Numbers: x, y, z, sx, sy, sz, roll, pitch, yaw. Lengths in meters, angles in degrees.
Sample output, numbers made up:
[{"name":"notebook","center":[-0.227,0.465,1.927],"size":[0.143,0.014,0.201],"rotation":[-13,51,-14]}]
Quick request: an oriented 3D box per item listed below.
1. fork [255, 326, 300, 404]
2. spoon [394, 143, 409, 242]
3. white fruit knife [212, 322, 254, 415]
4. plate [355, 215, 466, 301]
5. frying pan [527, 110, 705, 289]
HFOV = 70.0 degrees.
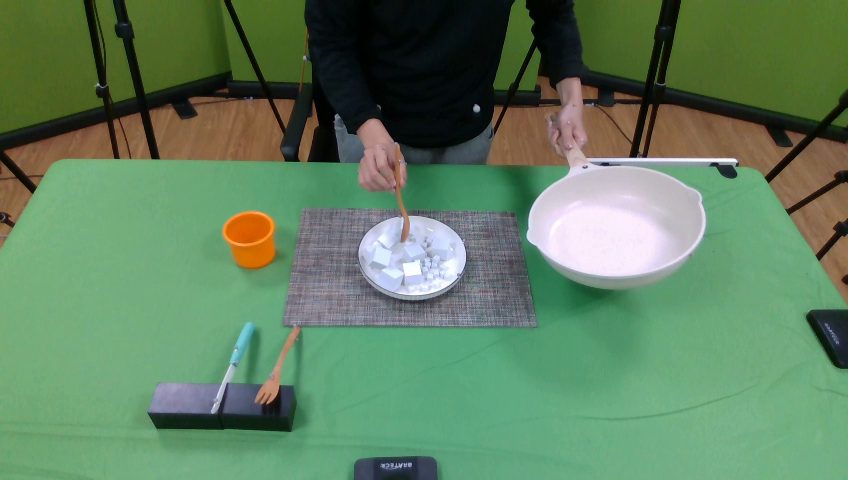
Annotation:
[{"name":"fork","center":[-0.226,0.192,0.955],"size":[0.028,0.019,0.206],"rotation":[-1,27,4]},{"name":"spoon","center":[-0.044,-0.082,1.087],"size":[0.021,0.194,0.041],"rotation":[-8,32,-2]},{"name":"white fruit knife","center":[-0.298,0.193,0.947],"size":[0.016,0.027,0.206],"rotation":[2,31,-1]},{"name":"plate","center":[-0.025,0.038,1.143],"size":[0.208,0.039,0.206],"rotation":[3,46,-2]},{"name":"frying pan","center":[0.317,-0.097,1.139],"size":[0.307,0.103,0.484],"rotation":[-13,49,0]}]
